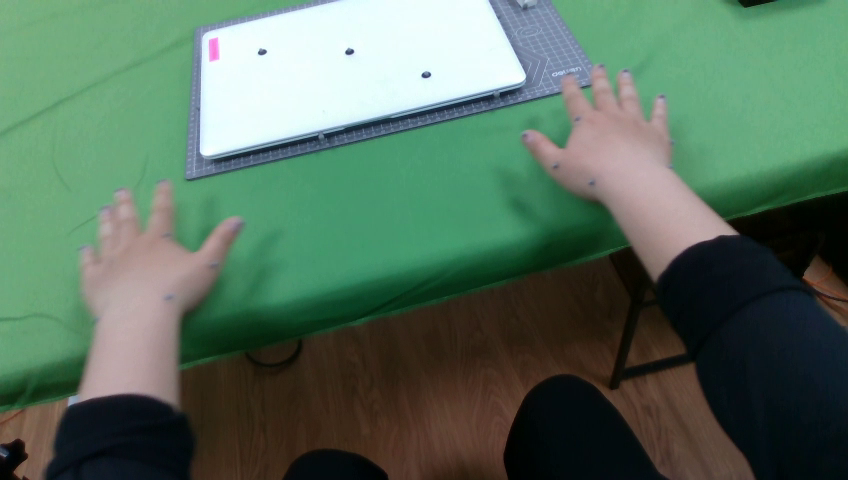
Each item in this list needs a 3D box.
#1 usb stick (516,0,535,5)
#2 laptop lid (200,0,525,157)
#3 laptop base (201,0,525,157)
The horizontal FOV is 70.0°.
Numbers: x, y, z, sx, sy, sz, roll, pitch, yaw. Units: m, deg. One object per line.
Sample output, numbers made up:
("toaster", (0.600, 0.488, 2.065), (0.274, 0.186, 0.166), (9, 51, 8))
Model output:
("usb stick", (0.118, -0.319, 0.756), (0.021, 0.027, 0.058), (-18, 48, -5))
("laptop lid", (-0.085, -0.216, 0.698), (0.357, 0.013, 0.239), (-13, 53, -1))
("laptop base", (-0.084, -0.211, 0.708), (0.354, 0.023, 0.233), (-14, 54, -3))
